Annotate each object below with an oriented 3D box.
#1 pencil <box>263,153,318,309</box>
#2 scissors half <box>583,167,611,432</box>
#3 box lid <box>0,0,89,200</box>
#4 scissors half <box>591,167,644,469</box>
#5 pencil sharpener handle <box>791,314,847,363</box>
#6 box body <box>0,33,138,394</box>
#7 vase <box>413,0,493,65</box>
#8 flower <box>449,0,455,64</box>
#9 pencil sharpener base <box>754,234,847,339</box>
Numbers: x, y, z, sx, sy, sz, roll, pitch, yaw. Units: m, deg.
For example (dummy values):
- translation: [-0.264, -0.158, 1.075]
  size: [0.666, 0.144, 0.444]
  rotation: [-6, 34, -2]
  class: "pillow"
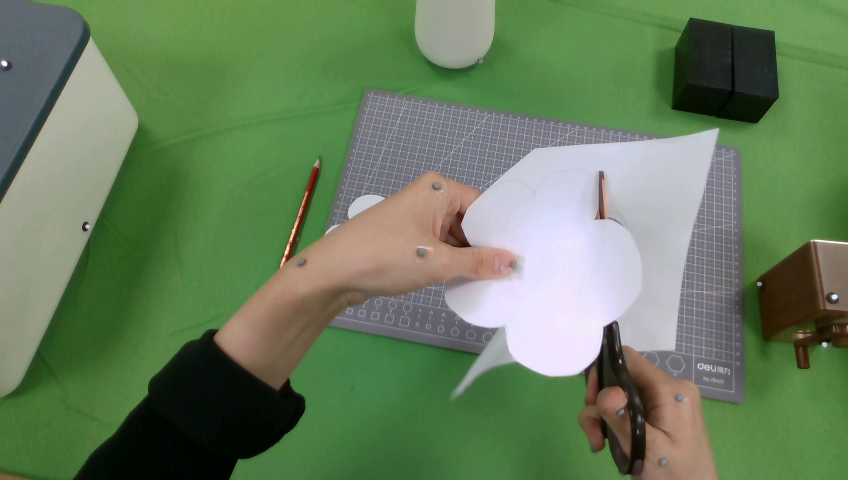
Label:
- translation: [-0.142, -0.016, 0.662]
  size: [0.012, 0.012, 0.193]
  rotation: [11, 66, 5]
  class: "pencil"
- translation: [0.107, 0.041, 0.368]
  size: [0.013, 0.176, 0.039]
  rotation: [-6, 24, -1]
  class: "scissors half"
- translation: [-0.477, -0.081, 0.521]
  size: [0.263, 0.015, 0.369]
  rotation: [10, 66, 4]
  class: "box lid"
- translation: [0.108, 0.045, 0.347]
  size: [0.013, 0.040, 0.175]
  rotation: [-7, 88, -6]
  class: "scissors half"
- translation: [0.366, 0.092, 0.552]
  size: [0.036, 0.068, 0.030]
  rotation: [12, 66, -12]
  class: "pencil sharpener handle"
- translation: [-0.477, -0.048, 0.589]
  size: [0.254, 0.161, 0.361]
  rotation: [10, 67, 4]
  class: "box body"
- translation: [0.034, -0.293, 0.680]
  size: [0.098, 0.201, 0.097]
  rotation: [0, 65, 1]
  class: "vase"
- translation: [0.029, -0.339, 0.609]
  size: [0.044, 0.365, 0.038]
  rotation: [3, 48, 5]
  class: "flower"
- translation: [0.375, 0.051, 0.584]
  size: [0.061, 0.108, 0.076]
  rotation: [6, 67, 2]
  class: "pencil sharpener base"
